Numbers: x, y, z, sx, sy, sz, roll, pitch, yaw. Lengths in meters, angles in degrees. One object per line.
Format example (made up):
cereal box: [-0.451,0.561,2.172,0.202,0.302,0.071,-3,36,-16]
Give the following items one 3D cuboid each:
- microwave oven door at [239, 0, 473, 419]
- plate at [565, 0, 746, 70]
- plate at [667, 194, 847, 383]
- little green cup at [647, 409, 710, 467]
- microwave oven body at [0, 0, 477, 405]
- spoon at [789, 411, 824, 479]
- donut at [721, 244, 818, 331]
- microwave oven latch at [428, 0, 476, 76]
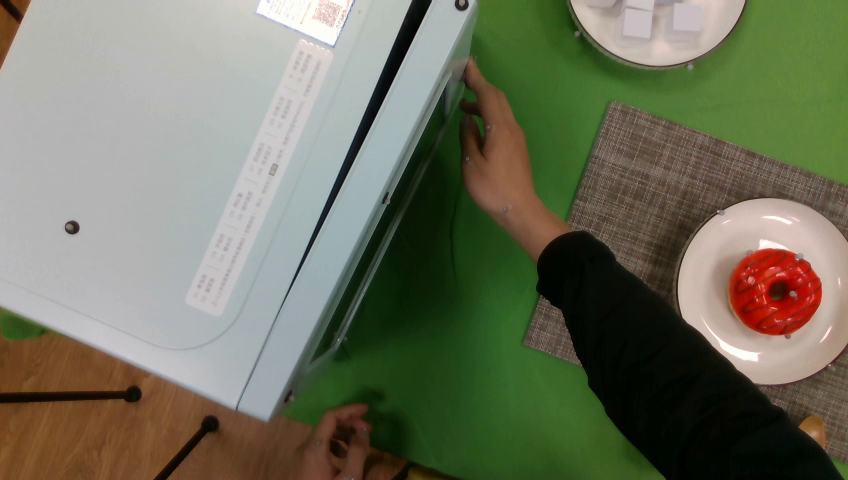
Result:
microwave oven door: [-0.052,-0.025,0.569,0.039,0.244,0.355,26,89,1]
plate: [0.260,-0.295,0.693,0.208,0.039,0.207,0,89,0]
plate: [0.375,0.053,0.681,0.209,0.038,0.209,0,89,1]
little green cup: [0.283,0.220,0.681,0.061,0.038,0.061,0,86,0]
microwave oven body: [-0.177,-0.125,0.577,0.326,0.260,0.441,23,90,1]
spoon: [0.449,0.285,0.685,0.042,0.021,0.193,-17,90,-19]
donut: [0.380,0.052,0.670,0.099,0.048,0.099,0,90,3]
microwave oven latch: [0.031,-0.226,0.674,0.030,0.029,0.079,26,90,1]
